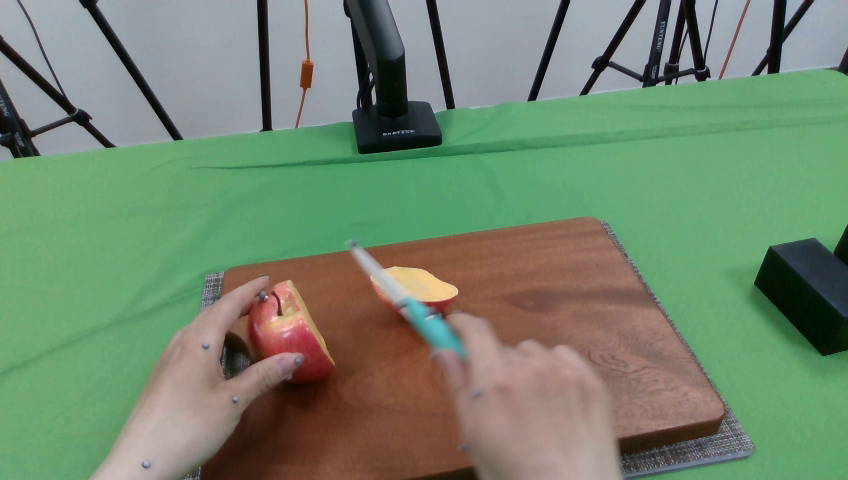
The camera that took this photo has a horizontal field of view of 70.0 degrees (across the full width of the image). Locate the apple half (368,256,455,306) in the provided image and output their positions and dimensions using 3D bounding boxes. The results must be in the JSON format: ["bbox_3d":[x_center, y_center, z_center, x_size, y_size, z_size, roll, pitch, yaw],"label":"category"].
[{"bbox_3d":[-0.016,0.044,0.548,0.081,0.033,0.081,12,19,-4],"label":"apple half"}]

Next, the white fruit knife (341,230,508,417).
[{"bbox_3d":[-0.010,0.047,0.437,0.016,0.027,0.205,-23,45,-28],"label":"white fruit knife"}]

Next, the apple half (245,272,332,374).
[{"bbox_3d":[-0.114,0.074,0.491,0.053,0.075,0.080,-29,55,-9],"label":"apple half"}]
